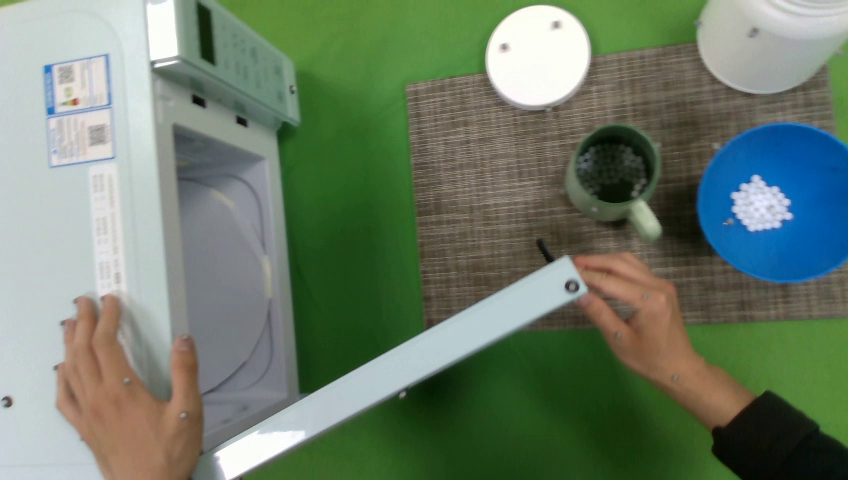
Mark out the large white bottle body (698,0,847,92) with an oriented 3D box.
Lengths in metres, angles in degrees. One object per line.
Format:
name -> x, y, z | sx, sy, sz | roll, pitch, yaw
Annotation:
large white bottle body -> 0.335, -0.227, 0.550 | 0.130, 0.185, 0.130 | -1, 83, 13

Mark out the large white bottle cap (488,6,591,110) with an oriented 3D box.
large white bottle cap -> 0.129, -0.205, 0.681 | 0.114, 0.018, 0.114 | -1, 87, 12

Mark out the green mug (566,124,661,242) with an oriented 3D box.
green mug -> 0.201, -0.054, 0.616 | 0.092, 0.105, 0.125 | -32, 81, 9

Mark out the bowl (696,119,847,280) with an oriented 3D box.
bowl -> 0.342, -0.036, 0.597 | 0.151, 0.077, 0.151 | -1, 88, 13

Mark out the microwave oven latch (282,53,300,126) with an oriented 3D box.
microwave oven latch -> -0.168, -0.179, 0.722 | 0.030, 0.029, 0.079 | -7, 87, 12

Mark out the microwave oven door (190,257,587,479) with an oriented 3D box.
microwave oven door -> -0.012, 0.117, 0.575 | 0.356, 0.244, 0.039 | -31, 81, 10

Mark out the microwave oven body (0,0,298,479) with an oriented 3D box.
microwave oven body -> -0.317, 0.008, 0.650 | 0.325, 0.261, 0.441 | -6, 87, 12
